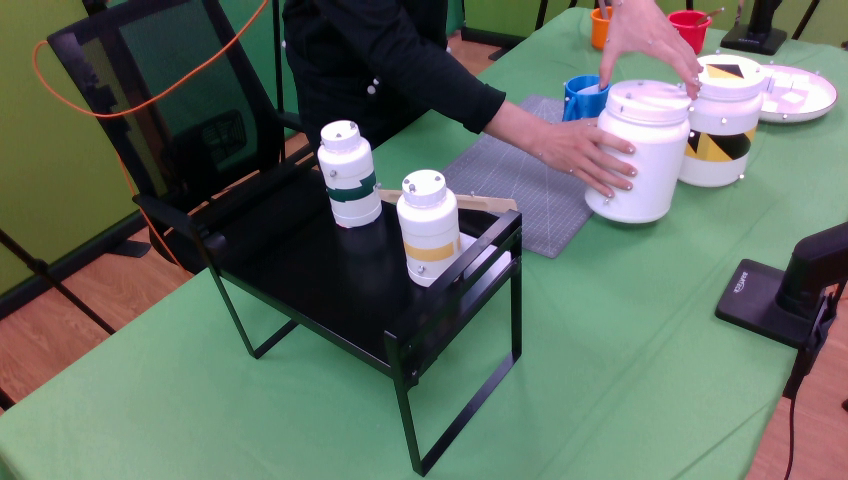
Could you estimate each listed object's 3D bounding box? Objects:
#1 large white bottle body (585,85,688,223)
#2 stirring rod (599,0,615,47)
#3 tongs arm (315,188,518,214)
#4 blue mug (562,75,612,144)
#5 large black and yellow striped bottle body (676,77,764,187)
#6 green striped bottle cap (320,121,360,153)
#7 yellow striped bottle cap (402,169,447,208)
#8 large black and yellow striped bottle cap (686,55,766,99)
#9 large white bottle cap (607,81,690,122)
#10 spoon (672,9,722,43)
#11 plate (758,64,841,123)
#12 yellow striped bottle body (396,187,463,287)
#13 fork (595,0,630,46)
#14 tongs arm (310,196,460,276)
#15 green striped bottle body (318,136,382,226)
[{"bbox_3d":[0.324,-0.133,0.924,0.131,0.185,0.130,0,35,1],"label":"large white bottle body"},{"bbox_3d":[0.437,-0.551,1.462,0.014,0.006,0.175,-11,83,1],"label":"stirring rod"},{"bbox_3d":[-0.028,-0.060,0.988,0.382,0.027,0.051,9,45,36],"label":"tongs arm"},{"bbox_3d":[0.298,-0.239,1.143,0.117,0.106,0.081,-37,48,-28],"label":"blue mug"},{"bbox_3d":[0.482,-0.196,1.007,0.131,0.185,0.130,-4,41,4],"label":"large black and yellow striped bottle body"},{"bbox_3d":[-0.097,-0.120,0.699,0.044,0.020,0.044,-4,39,3],"label":"green striped bottle cap"},{"bbox_3d":[0.000,-0.052,0.604,0.044,0.019,0.044,-4,43,5],"label":"yellow striped bottle cap"},{"bbox_3d":[0.474,-0.258,0.952,0.115,0.019,0.114,-5,41,5],"label":"large black and yellow striped bottle cap"},{"bbox_3d":[0.324,-0.202,0.875,0.115,0.018,0.114,0,35,0],"label":"large white bottle cap"},{"bbox_3d":[0.606,-0.476,1.345,0.042,0.021,0.193,-6,-3,-2],"label":"spoon"},{"bbox_3d":[0.694,-0.283,1.189,0.207,0.039,0.206,-4,40,4],"label":"plate"},{"bbox_3d":[0.006,-0.013,0.638,0.063,0.121,0.062,-5,41,4],"label":"yellow striped bottle body"},{"bbox_3d":[0.480,-0.556,1.453,0.028,0.019,0.207,41,103,40],"label":"fork"},{"bbox_3d":[-0.078,-0.012,0.944,0.028,0.028,0.384,-43,39,-22],"label":"tongs arm"},{"bbox_3d":[-0.090,-0.081,0.733,0.063,0.120,0.063,-5,41,4],"label":"green striped bottle body"}]
